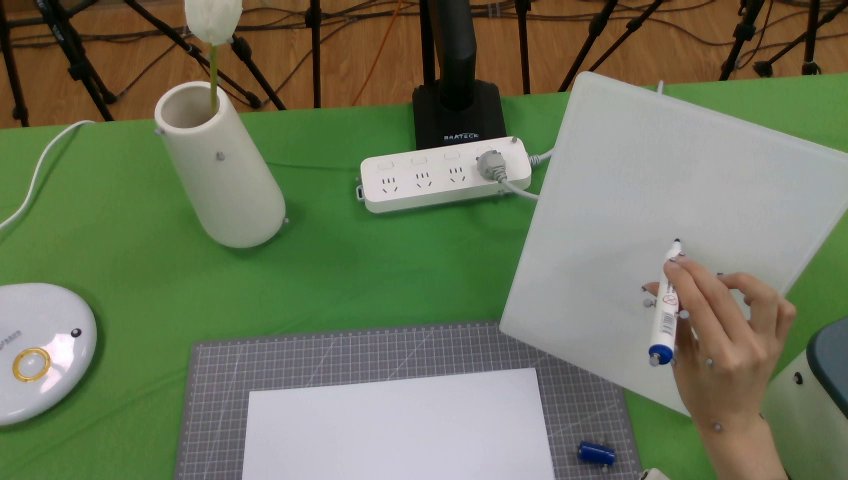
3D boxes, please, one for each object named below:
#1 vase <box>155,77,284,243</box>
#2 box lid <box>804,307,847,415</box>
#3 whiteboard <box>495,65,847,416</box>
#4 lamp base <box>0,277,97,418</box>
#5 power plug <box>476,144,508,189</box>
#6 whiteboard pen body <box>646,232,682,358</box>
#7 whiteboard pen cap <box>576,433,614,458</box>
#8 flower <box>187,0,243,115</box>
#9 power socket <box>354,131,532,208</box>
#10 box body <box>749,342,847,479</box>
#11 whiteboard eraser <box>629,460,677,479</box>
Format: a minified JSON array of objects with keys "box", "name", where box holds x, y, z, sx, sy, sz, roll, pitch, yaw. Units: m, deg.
[{"box":[-0.220,-0.080,0.659,0.098,0.202,0.097,-1,59,2],"name":"vase"},{"box":[0.484,0.173,0.425,0.263,0.015,0.367,-20,61,-10],"name":"box lid"},{"box":[0.224,-0.015,0.584,0.216,0.308,0.143,23,42,16],"name":"whiteboard"},{"box":[-0.448,0.066,0.587,0.178,0.182,0.160,25,62,19],"name":"lamp base"},{"box":[0.080,-0.082,0.724,0.035,0.053,0.072,0,65,2],"name":"power plug"},{"box":[0.181,0.034,0.449,0.017,0.017,0.140,19,42,13],"name":"whiteboard pen body"},{"box":[0.165,0.199,0.586,0.033,0.018,0.018,13,60,6],"name":"whiteboard pen cap"},{"box":[-0.202,-0.117,0.585,0.038,0.363,0.044,44,59,5],"name":"flower"},{"box":[0.025,-0.088,0.755,0.227,0.033,0.071,-8,60,-4],"name":"power socket"},{"box":[0.487,0.214,0.488,0.254,0.162,0.360,-20,61,-10],"name":"box body"},{"box":[0.189,0.256,0.537,0.055,0.042,0.112,37,67,22],"name":"whiteboard eraser"}]
